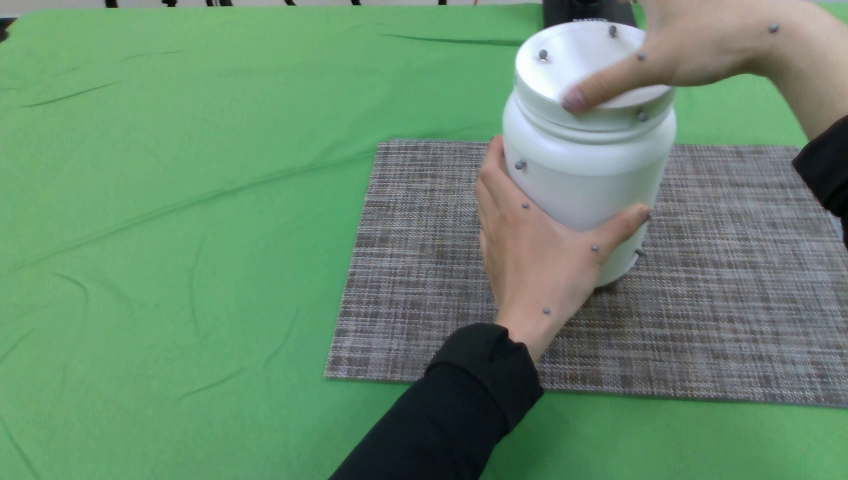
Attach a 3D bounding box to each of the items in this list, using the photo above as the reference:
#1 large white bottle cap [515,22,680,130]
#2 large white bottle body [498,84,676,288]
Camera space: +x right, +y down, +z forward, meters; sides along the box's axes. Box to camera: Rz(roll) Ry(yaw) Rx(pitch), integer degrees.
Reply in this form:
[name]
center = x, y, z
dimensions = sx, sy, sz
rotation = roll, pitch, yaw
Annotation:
[large white bottle cap]
center = 0.124, -0.121, 0.436
dimensions = 0.115, 0.018, 0.113
rotation = -2, 48, 3
[large white bottle body]
center = 0.129, -0.063, 0.501
dimensions = 0.130, 0.186, 0.129
rotation = -2, 48, 2
